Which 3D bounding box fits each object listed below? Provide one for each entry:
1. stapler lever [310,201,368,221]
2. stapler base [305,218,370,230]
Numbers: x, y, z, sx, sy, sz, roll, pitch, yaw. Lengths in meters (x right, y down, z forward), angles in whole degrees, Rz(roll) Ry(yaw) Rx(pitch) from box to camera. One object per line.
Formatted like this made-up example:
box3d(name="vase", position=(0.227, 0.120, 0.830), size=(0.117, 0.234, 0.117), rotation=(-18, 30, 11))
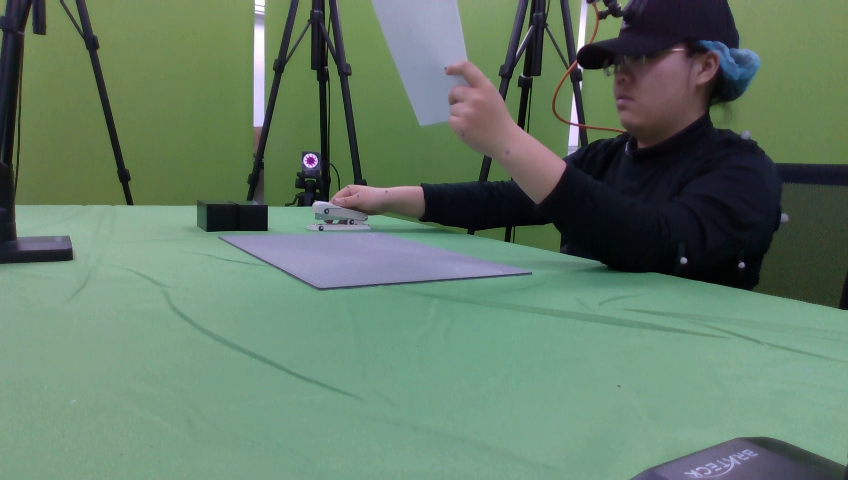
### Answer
box3d(name="stapler lever", position=(-0.171, -0.057, 1.214), size=(0.119, 0.040, 0.026), rotation=(-1, 7, -34))
box3d(name="stapler base", position=(-0.173, -0.033, 1.215), size=(0.131, 0.024, 0.041), rotation=(0, 7, -34))
